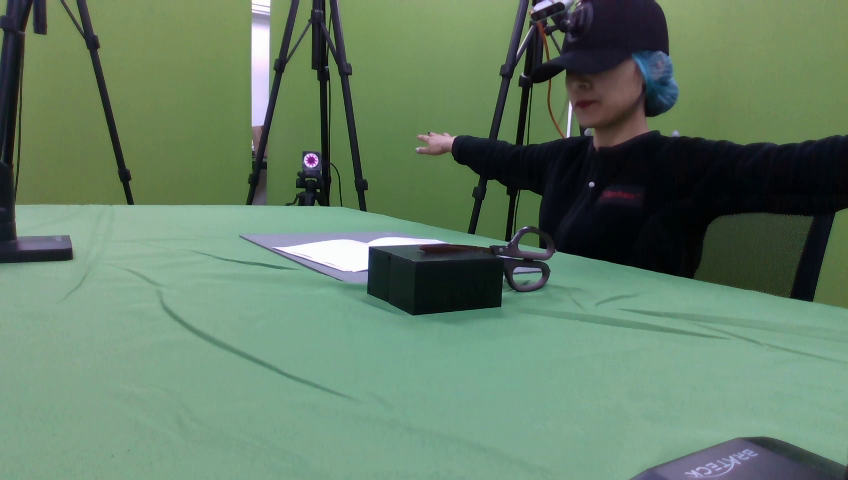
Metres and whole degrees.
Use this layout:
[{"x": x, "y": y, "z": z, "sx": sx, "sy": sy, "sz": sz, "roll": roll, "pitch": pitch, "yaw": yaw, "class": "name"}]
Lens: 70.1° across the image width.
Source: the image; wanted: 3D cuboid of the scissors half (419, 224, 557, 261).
[{"x": 0.072, "y": 0.004, "z": 0.641, "sx": 0.176, "sy": 0.040, "sz": 0.013, "roll": -3, "pitch": 12, "yaw": -29, "class": "scissors half"}]

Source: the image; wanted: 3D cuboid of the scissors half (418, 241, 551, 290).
[{"x": 0.067, "y": 0.024, "z": 0.645, "sx": 0.176, "sy": 0.040, "sz": 0.012, "roll": 17, "pitch": 7, "yaw": -31, "class": "scissors half"}]
